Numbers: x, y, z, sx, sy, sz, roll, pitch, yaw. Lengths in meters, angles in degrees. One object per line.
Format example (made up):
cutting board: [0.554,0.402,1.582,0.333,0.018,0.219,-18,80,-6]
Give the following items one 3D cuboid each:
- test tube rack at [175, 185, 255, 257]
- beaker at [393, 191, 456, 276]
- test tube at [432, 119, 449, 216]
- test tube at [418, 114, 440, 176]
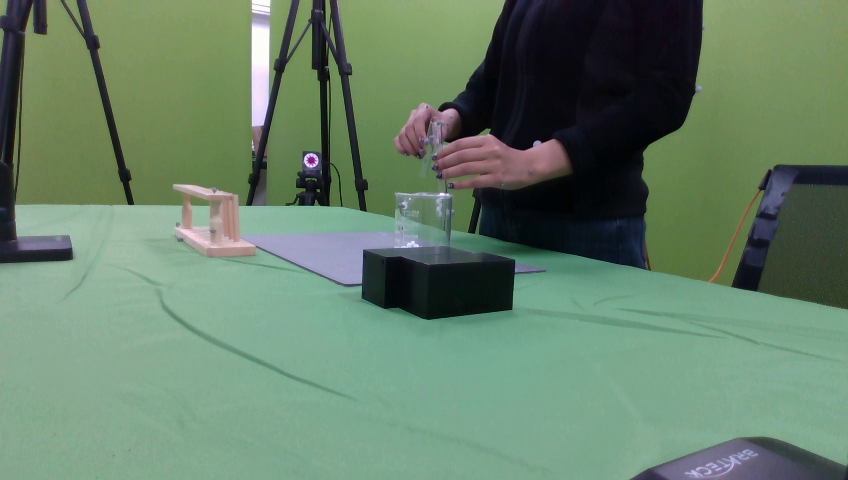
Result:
test tube rack: [-0.324,-0.035,0.922,0.067,0.085,0.241,-2,9,-31]
beaker: [-0.003,-0.010,0.749,0.074,0.100,0.083,-3,8,-40]
test tube: [0.024,-0.109,0.901,0.017,0.150,0.017,-4,-12,-1]
test tube: [0.007,-0.152,0.990,0.017,0.017,0.150,1,-30,-9]
